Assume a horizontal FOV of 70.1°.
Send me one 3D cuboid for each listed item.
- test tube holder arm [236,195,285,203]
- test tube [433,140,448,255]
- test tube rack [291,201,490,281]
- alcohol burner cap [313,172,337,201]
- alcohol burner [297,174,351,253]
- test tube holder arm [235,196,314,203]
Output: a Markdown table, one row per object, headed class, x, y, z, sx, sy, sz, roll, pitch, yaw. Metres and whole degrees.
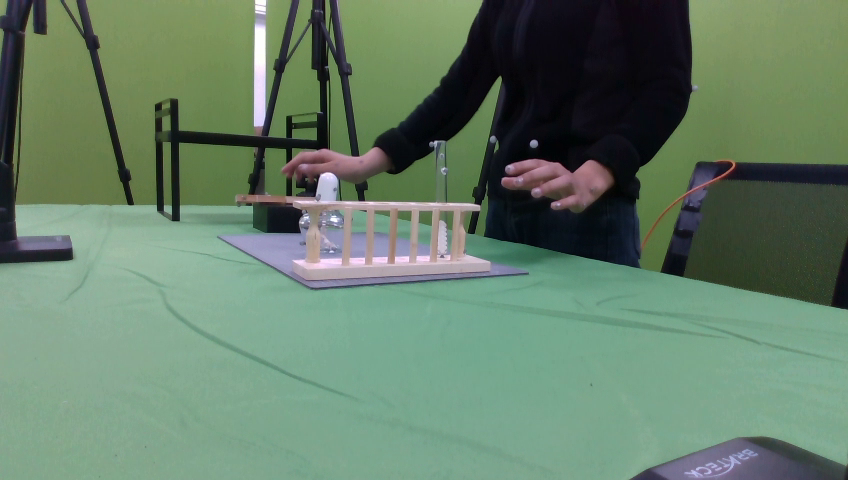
| class | x | y | z | sx | sy | sz | roll | pitch | yaw |
| --- | --- | --- | --- | --- | --- | --- | --- | --- | --- |
| test tube holder arm | -0.304 | -0.076 | 1.125 | 0.088 | 0.015 | 0.010 | 0 | 2 | -29 |
| test tube | 0.022 | -0.054 | 0.784 | 0.017 | 0.150 | 0.017 | -2 | 9 | 1 |
| test tube rack | -0.035 | -0.002 | 0.745 | 0.243 | 0.085 | 0.066 | -1 | 8 | -28 |
| alcohol burner cap | -0.144 | -0.076 | 0.888 | 0.034 | 0.048 | 0.034 | 8 | 6 | -1 |
| alcohol burner | -0.146 | -0.040 | 0.894 | 0.078 | 0.119 | 0.078 | 5 | 7 | 0 |
| test tube holder arm | -0.267 | -0.076 | 1.152 | 0.179 | 0.015 | 0.013 | -1 | 2 | -30 |
